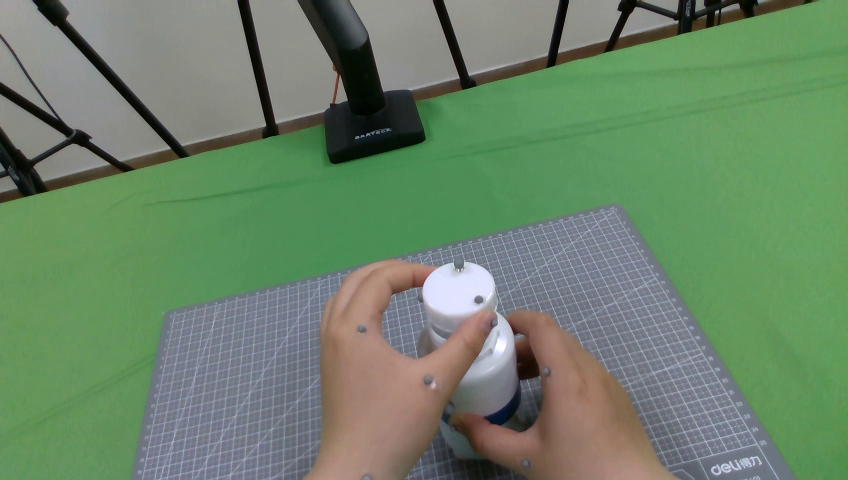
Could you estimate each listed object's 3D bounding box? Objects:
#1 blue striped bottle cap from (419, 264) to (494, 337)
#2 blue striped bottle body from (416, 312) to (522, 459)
[{"bbox_3d":[0.019,0.035,0.360,0.044,0.021,0.044,-3,41,3],"label":"blue striped bottle cap"},{"bbox_3d":[0.031,0.089,0.402,0.063,0.122,0.062,-7,43,7],"label":"blue striped bottle body"}]
